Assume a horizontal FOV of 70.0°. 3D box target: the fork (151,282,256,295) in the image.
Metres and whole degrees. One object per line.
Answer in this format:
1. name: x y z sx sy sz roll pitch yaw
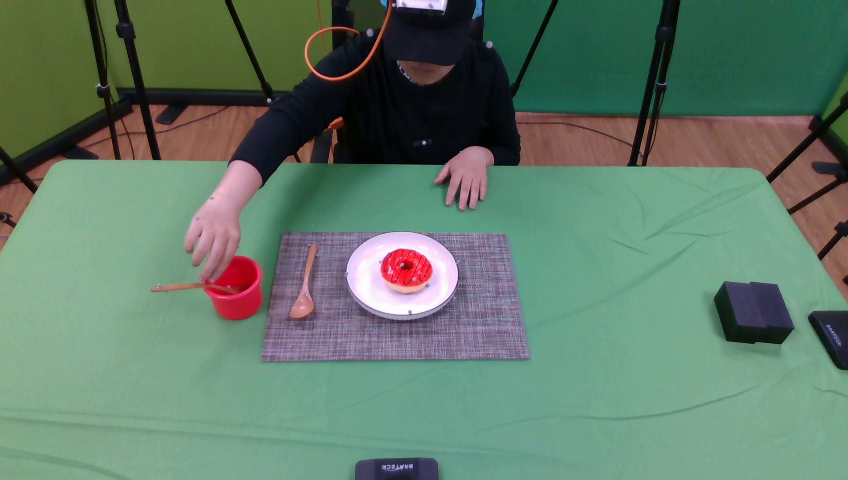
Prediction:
1. fork: -0.361 0.079 1.007 0.028 0.018 0.208 36 12 27

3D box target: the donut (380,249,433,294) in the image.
1. donut: -0.032 0.056 1.111 0.099 0.048 0.098 4 43 -3

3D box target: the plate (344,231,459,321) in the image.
1. plate: -0.042 0.068 1.115 0.209 0.038 0.208 2 46 -2

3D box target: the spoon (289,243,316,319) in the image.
1. spoon: -0.215 0.071 1.108 0.041 0.022 0.192 -10 45 10
